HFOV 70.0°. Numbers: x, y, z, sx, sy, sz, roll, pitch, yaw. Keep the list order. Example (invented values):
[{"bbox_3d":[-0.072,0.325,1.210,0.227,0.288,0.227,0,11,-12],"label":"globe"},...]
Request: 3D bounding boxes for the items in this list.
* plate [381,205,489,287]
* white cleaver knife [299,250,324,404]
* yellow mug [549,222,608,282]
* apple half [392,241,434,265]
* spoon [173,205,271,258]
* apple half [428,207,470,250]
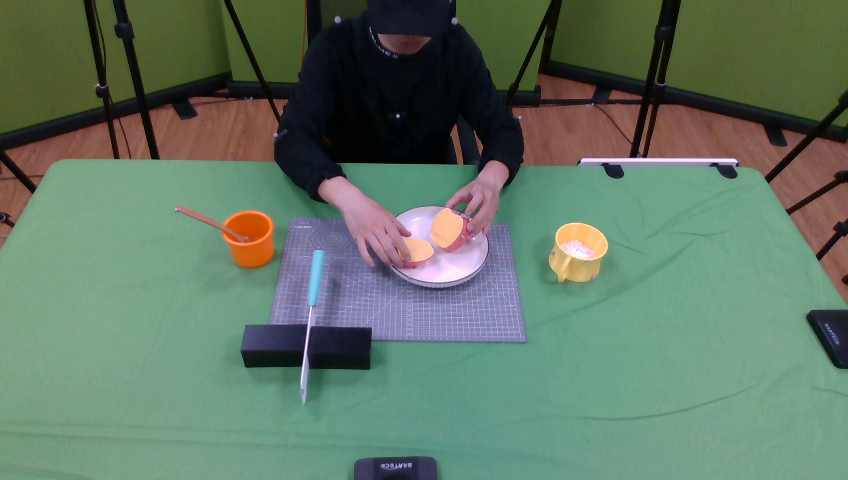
[{"bbox_3d":[0.021,0.015,1.170,0.209,0.038,0.208,2,46,-2],"label":"plate"},{"bbox_3d":[-0.194,0.134,1.019,0.021,0.066,0.284,5,50,-5],"label":"white cleaver knife"},{"bbox_3d":[0.287,0.031,1.159,0.099,0.064,0.130,27,51,21],"label":"yellow mug"},{"bbox_3d":[-0.022,0.030,1.146,0.081,0.033,0.081,11,19,-4],"label":"apple half"},{"bbox_3d":[-0.362,-0.017,1.098,0.021,0.195,0.041,-32,42,27],"label":"spoon"},{"bbox_3d":[0.053,-0.018,1.167,0.080,0.053,0.074,30,93,40],"label":"apple half"}]
